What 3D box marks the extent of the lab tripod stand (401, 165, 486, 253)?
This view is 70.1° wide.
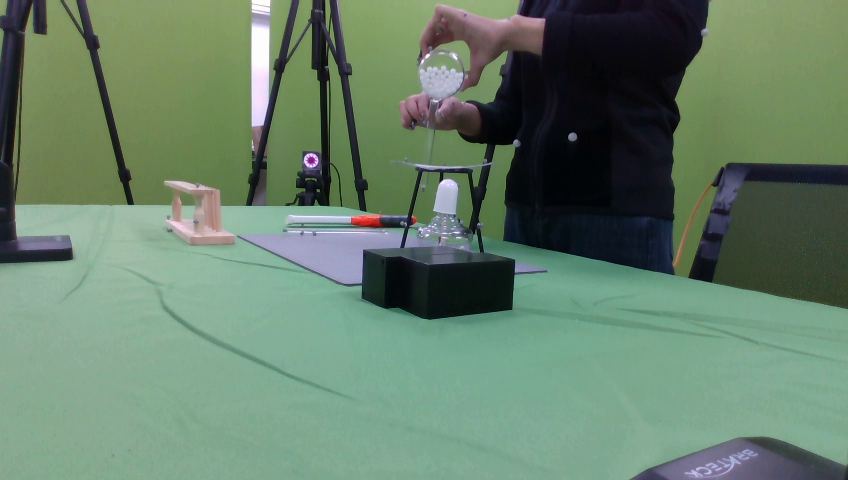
[{"bbox_3d":[0.028,-0.049,0.930,0.148,0.131,0.148,3,9,0],"label":"lab tripod stand"}]

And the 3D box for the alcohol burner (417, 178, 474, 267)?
[{"bbox_3d":[0.029,-0.024,0.810,0.078,0.119,0.078,1,8,0],"label":"alcohol burner"}]

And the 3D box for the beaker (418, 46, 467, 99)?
[{"bbox_3d":[0.027,-0.255,0.925,0.074,0.084,0.100,14,17,-2],"label":"beaker"}]

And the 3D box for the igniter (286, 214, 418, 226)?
[{"bbox_3d":[-0.146,-0.043,1.263,0.278,0.025,0.057,-1,-2,-24],"label":"igniter"}]

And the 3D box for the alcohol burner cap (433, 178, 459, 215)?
[{"bbox_3d":[0.032,-0.059,0.806,0.034,0.048,0.034,9,9,-1],"label":"alcohol burner cap"}]

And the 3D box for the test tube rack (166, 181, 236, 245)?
[{"bbox_3d":[-0.383,-0.051,1.024,0.067,0.085,0.241,-2,9,-31],"label":"test tube rack"}]

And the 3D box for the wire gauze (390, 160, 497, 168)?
[{"bbox_3d":[0.027,-0.115,0.919,0.122,0.011,0.124,-4,10,-34],"label":"wire gauze"}]

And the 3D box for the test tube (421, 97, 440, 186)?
[{"bbox_3d":[0.009,-0.162,1.006,0.017,0.150,0.017,7,21,-2],"label":"test tube"}]

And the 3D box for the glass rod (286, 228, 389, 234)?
[{"bbox_3d":[-0.154,-0.016,1.101,0.201,0.008,0.008,1,6,-31],"label":"glass rod"}]
